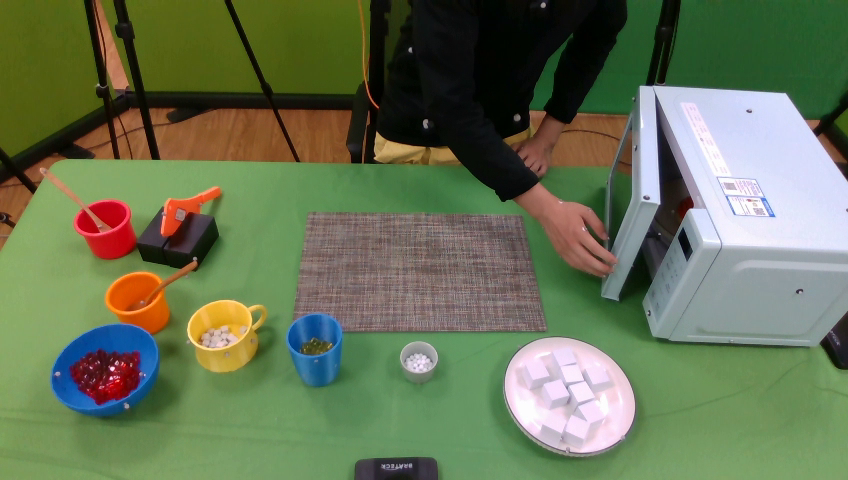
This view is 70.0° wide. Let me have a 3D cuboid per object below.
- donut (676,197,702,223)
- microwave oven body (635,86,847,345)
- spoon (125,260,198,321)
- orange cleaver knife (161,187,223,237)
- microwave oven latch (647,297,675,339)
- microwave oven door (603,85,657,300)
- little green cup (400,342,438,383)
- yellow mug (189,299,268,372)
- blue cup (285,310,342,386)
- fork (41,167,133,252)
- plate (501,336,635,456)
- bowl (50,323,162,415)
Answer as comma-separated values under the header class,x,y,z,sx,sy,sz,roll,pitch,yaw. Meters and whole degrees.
class,x,y,z,sx,sy,sz,roll,pitch,yaw
donut,0.537,-0.045,1.169,0.099,0.048,0.098,9,36,-7
microwave oven body,0.567,-0.053,1.118,0.326,0.261,0.439,2,45,-1
spoon,-0.435,0.083,1.000,0.022,0.194,0.041,35,34,-34
orange cleaver knife,-0.448,-0.059,1.181,0.012,0.077,0.211,13,17,6
microwave oven latch,0.413,0.134,1.061,0.030,0.029,0.078,5,45,2
microwave oven door,0.388,-0.098,1.143,0.039,0.245,0.354,11,46,7
little green cup,-0.010,0.202,0.991,0.061,0.039,0.061,2,47,-2
yellow mug,-0.316,0.148,1.002,0.131,0.064,0.099,-32,56,-31
blue cup,-0.170,0.179,0.958,0.093,0.101,0.092,1,44,-1
fork,-0.624,-0.056,1.121,0.208,0.018,0.028,49,52,-15
plate,0.225,0.248,0.963,0.208,0.039,0.206,2,46,-2
bowl,-0.472,0.209,0.924,0.151,0.077,0.150,2,45,-2
